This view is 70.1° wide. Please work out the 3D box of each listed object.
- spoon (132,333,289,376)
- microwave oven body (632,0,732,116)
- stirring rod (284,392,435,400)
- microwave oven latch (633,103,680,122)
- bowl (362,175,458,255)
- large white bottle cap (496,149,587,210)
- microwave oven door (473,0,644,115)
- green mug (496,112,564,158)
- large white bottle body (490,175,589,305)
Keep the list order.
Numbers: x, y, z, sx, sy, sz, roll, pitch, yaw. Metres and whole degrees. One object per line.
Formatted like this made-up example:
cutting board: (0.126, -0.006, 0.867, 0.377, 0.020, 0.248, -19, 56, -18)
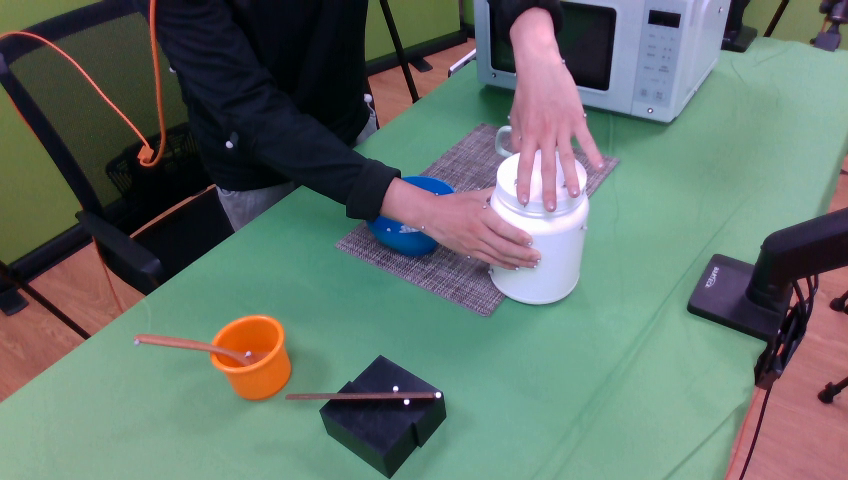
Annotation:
spoon: (-0.257, 0.137, 0.747, 0.195, 0.021, 0.041, 25, 26, -36)
microwave oven body: (0.377, -0.462, 1.267, 0.438, 0.261, 0.327, 21, 48, 30)
stirring rod: (-0.076, 0.180, 0.698, 0.176, 0.006, 0.014, -2, 6, 6)
microwave oven latch: (0.444, -0.249, 1.157, 0.078, 0.029, 0.030, 21, 49, 30)
bowl: (-0.018, -0.029, 0.955, 0.151, 0.077, 0.150, -4, 40, 4)
large white bottle cap: (0.150, -0.079, 0.776, 0.115, 0.018, 0.114, -2, 42, 3)
microwave oven door: (0.257, -0.396, 1.199, 0.353, 0.245, 0.039, 21, 48, 29)
green mug: (0.185, -0.161, 1.061, 0.124, 0.105, 0.092, 15, 46, 25)
large white bottle body: (0.157, -0.015, 0.834, 0.130, 0.185, 0.130, -3, 43, 3)
